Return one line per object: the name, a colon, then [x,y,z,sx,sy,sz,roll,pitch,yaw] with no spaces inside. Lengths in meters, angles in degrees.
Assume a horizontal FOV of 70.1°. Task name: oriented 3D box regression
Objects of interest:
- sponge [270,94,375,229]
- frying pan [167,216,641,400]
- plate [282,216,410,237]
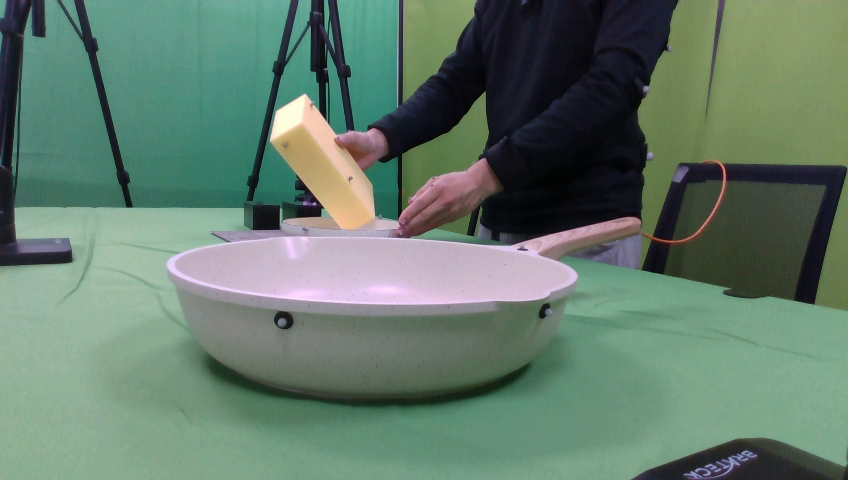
sponge: [-0.163,-0.125,1.005,0.061,0.207,0.118,-28,35,11]
frying pan: [0.046,0.024,0.519,0.490,0.102,0.305,-14,16,-37]
plate: [-0.126,-0.012,0.986,0.208,0.039,0.207,2,7,0]
